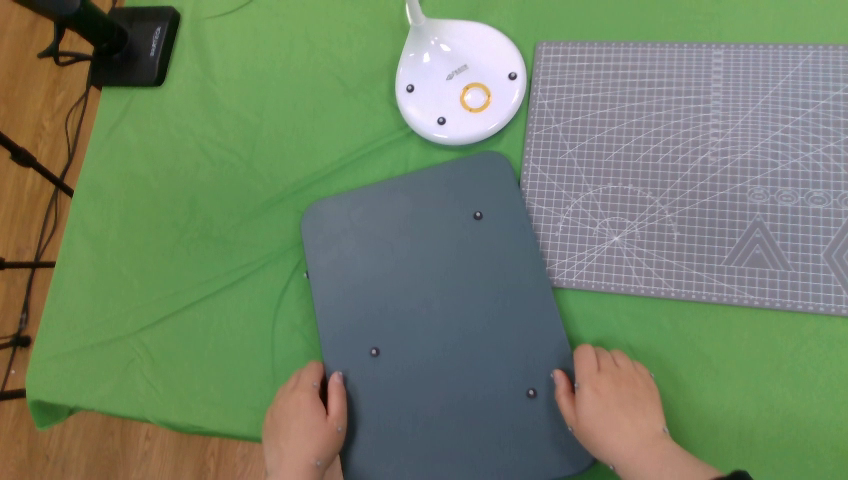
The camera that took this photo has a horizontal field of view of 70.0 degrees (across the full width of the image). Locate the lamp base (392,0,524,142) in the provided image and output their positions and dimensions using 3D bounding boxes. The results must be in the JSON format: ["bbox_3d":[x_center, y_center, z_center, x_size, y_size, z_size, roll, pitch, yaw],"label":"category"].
[{"bbox_3d":[0.015,-0.220,0.664,0.160,0.181,0.178,-44,69,-1],"label":"lamp base"}]

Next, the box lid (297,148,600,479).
[{"bbox_3d":[0.011,0.086,0.661,0.263,0.015,0.368,-16,70,4],"label":"box lid"}]
